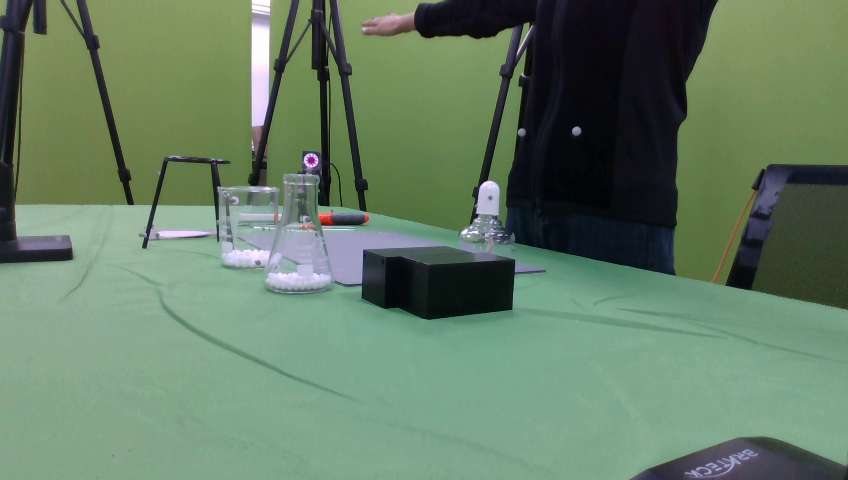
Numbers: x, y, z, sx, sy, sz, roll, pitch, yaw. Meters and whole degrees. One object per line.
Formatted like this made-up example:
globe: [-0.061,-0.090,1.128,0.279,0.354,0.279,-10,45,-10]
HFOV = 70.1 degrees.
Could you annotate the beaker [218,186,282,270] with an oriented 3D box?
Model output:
beaker: [-0.222,-0.017,0.758,0.084,0.100,0.074,4,7,19]

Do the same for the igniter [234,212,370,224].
igniter: [-0.247,-0.046,1.253,0.278,0.025,0.057,-1,-2,-27]

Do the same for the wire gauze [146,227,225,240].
wire gauze: [-0.400,-0.012,1.019,0.122,0.011,0.124,-1,6,-26]

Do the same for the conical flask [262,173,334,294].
conical flask: [-0.131,-0.009,0.633,0.075,0.122,0.075,2,8,0]

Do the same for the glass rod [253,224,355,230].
glass rod: [-0.226,-0.024,1.162,0.201,0.008,0.008,1,6,-29]

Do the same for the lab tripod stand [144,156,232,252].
lab tripod stand: [-0.325,-0.054,0.881,0.148,0.131,0.148,4,7,0]

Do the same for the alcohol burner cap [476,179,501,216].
alcohol burner cap: [0.086,-0.057,0.801,0.034,0.048,0.034,4,2,0]

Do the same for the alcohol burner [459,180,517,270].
alcohol burner: [0.086,-0.021,0.806,0.078,0.119,0.078,3,9,0]
